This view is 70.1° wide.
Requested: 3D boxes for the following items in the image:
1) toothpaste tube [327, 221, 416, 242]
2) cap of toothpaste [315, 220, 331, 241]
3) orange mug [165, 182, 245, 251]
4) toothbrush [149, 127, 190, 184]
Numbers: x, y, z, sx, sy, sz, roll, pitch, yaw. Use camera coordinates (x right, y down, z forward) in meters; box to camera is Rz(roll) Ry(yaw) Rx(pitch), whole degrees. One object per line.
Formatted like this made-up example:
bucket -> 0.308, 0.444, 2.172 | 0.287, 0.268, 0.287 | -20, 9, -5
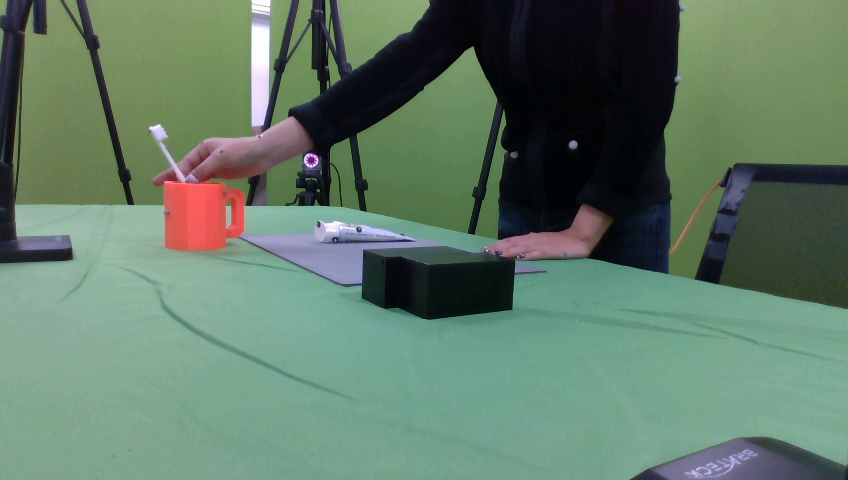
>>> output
toothpaste tube -> -0.095, -0.012, 1.026 | 0.166, 0.034, 0.055 | 2, 13, -33
cap of toothpaste -> -0.165, -0.016, 0.982 | 0.011, 0.037, 0.037 | -9, 12, -43
orange mug -> -0.326, -0.040, 0.911 | 0.083, 0.101, 0.127 | 8, 14, 37
toothbrush -> -0.342, -0.082, 0.879 | 0.014, 0.182, 0.017 | -8, 25, 44
